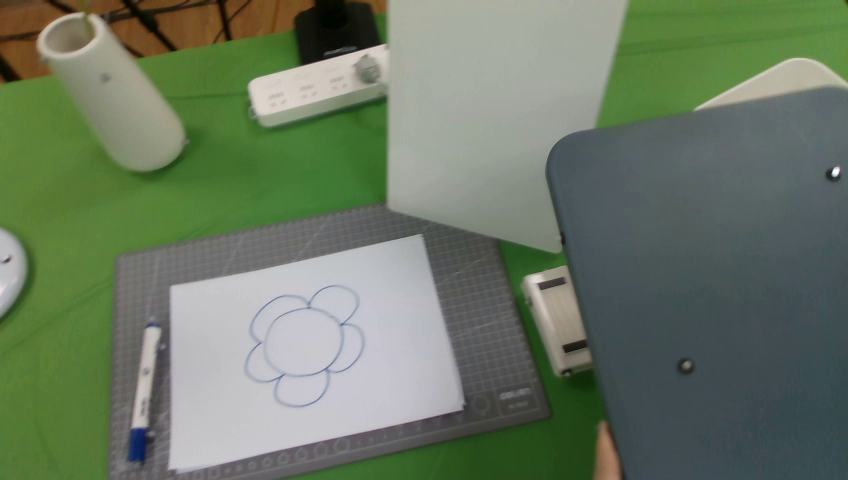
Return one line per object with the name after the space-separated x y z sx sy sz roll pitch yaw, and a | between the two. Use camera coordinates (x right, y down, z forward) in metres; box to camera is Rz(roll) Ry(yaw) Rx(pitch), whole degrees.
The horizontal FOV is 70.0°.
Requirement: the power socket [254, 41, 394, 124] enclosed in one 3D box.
-0.124 -0.217 0.831 0.227 0.033 0.071 -16 62 -6 | power socket

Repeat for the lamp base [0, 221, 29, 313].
-0.565 0.002 0.650 0.178 0.182 0.160 17 63 16 | lamp base

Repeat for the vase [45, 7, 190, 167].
-0.361 -0.175 0.726 0.098 0.202 0.097 -2 61 4 | vase

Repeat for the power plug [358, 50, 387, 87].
-0.068 -0.218 0.802 0.035 0.053 0.072 -7 67 -1 | power plug

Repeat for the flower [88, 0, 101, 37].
-0.345 -0.212 0.651 0.038 0.363 0.044 35 58 1 | flower

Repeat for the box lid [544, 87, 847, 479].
0.246 0.057 0.419 0.263 0.015 0.368 -10 65 2 | box lid

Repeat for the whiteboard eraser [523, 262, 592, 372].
0.149 0.081 0.646 0.055 0.042 0.111 -13 61 -6 | whiteboard eraser

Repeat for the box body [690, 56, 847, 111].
0.385 0.029 0.592 0.254 0.162 0.360 -28 63 -12 | box body

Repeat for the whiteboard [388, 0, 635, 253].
0.091 -0.167 0.671 0.216 0.308 0.143 16 43 13 | whiteboard

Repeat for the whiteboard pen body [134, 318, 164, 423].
-0.292 0.150 0.640 0.017 0.017 0.139 -4 63 1 | whiteboard pen body

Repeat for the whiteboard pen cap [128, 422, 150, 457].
-0.288 0.202 0.614 0.018 0.018 0.033 -5 63 1 | whiteboard pen cap
